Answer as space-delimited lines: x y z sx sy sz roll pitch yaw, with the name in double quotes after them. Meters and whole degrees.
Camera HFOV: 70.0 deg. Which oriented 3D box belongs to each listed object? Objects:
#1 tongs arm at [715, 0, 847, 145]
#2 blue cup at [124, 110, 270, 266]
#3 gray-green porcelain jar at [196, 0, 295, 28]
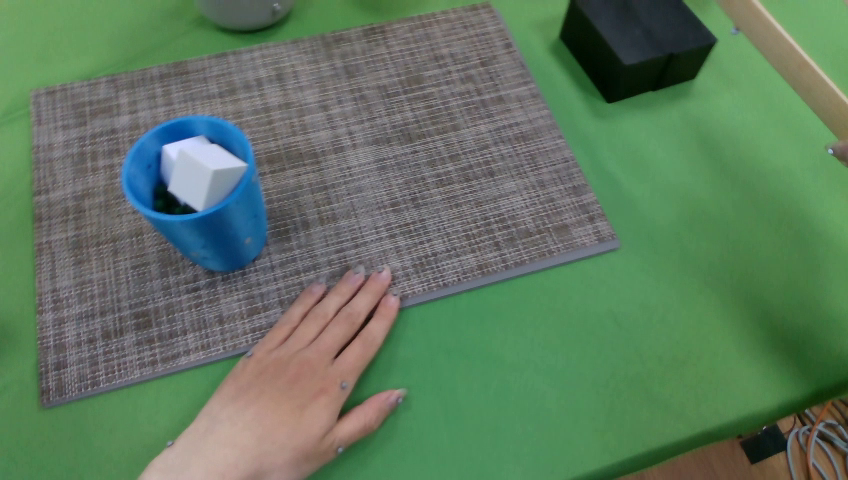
0.287 -0.108 0.418 0.051 0.026 0.383 -31 80 -19 "tongs arm"
-0.154 -0.029 0.443 0.092 0.101 0.092 0 62 -1 "blue cup"
-0.176 -0.276 0.568 0.106 0.127 0.105 1 61 -2 "gray-green porcelain jar"
